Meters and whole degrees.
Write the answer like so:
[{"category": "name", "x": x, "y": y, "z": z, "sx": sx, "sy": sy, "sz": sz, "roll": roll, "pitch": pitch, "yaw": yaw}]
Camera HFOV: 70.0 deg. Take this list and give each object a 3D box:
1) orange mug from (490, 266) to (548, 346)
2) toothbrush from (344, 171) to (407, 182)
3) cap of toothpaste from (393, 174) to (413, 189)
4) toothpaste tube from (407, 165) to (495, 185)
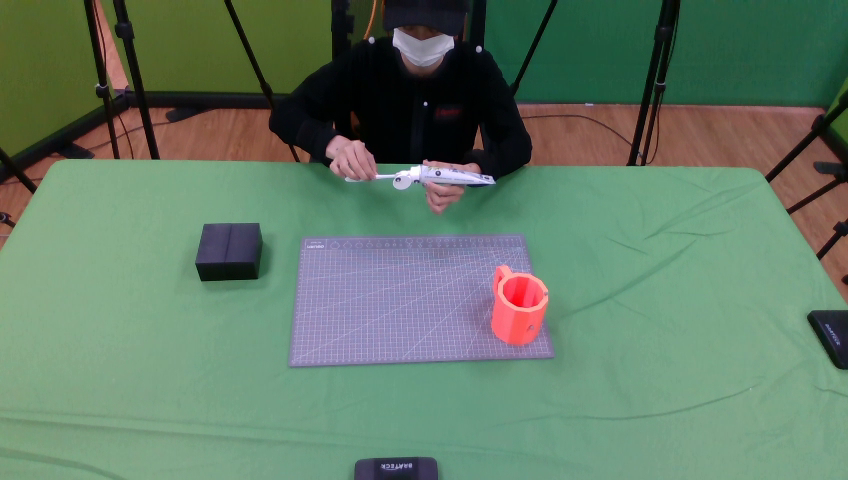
[{"category": "orange mug", "x": 0.155, "y": 0.107, "z": 1.051, "sx": 0.083, "sy": 0.101, "sz": 0.125, "roll": -15, "pitch": 53, "yaw": -18}, {"category": "toothbrush", "x": -0.098, "y": -0.124, "z": 1.186, "sx": 0.181, "sy": 0.014, "sz": 0.016, "roll": 2, "pitch": 37, "yaw": 45}, {"category": "cap of toothpaste", "x": -0.040, "y": -0.110, "z": 1.119, "sx": 0.037, "sy": 0.037, "sz": 0.011, "roll": -6, "pitch": 48, "yaw": -11}, {"category": "toothpaste tube", "x": 0.049, "y": -0.119, "z": 1.138, "sx": 0.165, "sy": 0.034, "sz": 0.055, "roll": 3, "pitch": 24, "yaw": -4}]
